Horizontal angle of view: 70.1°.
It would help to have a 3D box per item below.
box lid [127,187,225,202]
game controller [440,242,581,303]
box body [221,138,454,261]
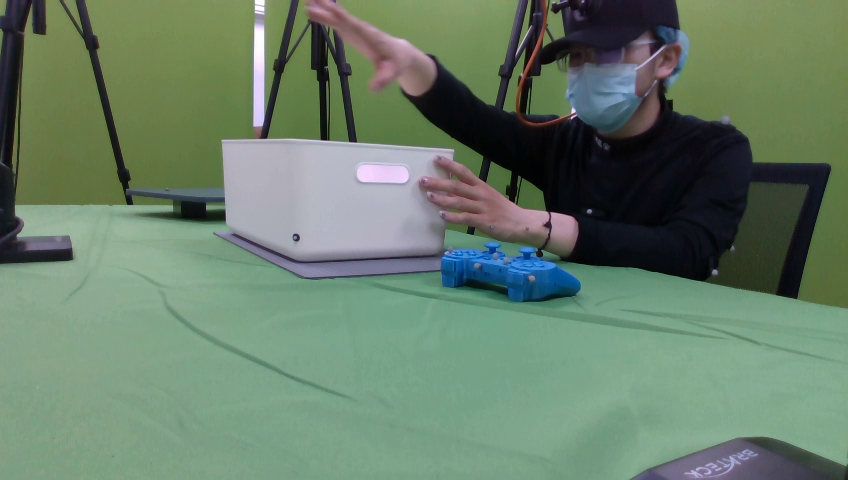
[{"bbox_3d":[-0.449,-0.106,1.393,0.262,0.015,0.373,6,8,28],"label":"box lid"},{"bbox_3d":[0.091,0.033,0.685,0.154,0.051,0.097,8,13,42],"label":"game controller"},{"bbox_3d":[-0.152,-0.074,0.963,0.255,0.160,0.362,-3,9,-32],"label":"box body"}]
